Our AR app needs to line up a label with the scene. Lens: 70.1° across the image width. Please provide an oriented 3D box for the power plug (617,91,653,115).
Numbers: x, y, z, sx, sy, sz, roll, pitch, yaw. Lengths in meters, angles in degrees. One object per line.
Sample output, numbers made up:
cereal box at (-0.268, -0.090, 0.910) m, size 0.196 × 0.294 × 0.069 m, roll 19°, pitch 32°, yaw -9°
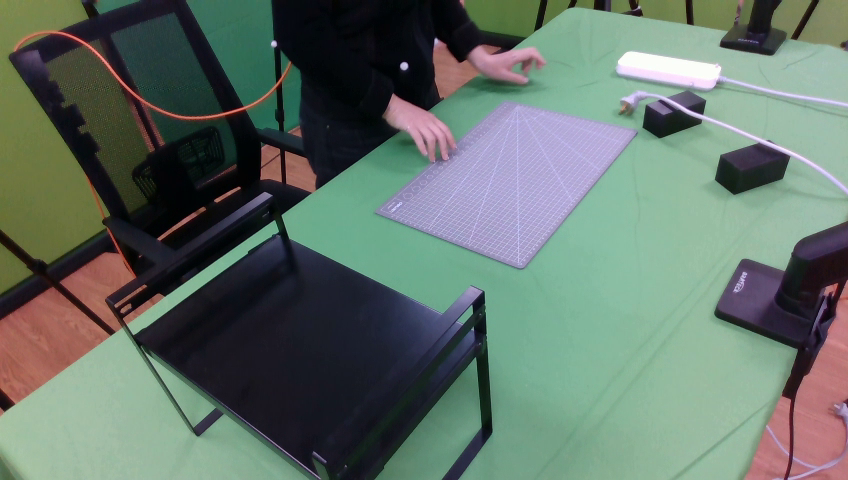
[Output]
power plug at (0.414, -0.273, 1.206) m, size 0.052 × 0.035 × 0.072 m, roll -55°, pitch 8°, yaw 2°

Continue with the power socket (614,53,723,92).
power socket at (0.528, -0.367, 1.317) m, size 0.225 × 0.033 × 0.072 m, roll 20°, pitch 49°, yaw 29°
